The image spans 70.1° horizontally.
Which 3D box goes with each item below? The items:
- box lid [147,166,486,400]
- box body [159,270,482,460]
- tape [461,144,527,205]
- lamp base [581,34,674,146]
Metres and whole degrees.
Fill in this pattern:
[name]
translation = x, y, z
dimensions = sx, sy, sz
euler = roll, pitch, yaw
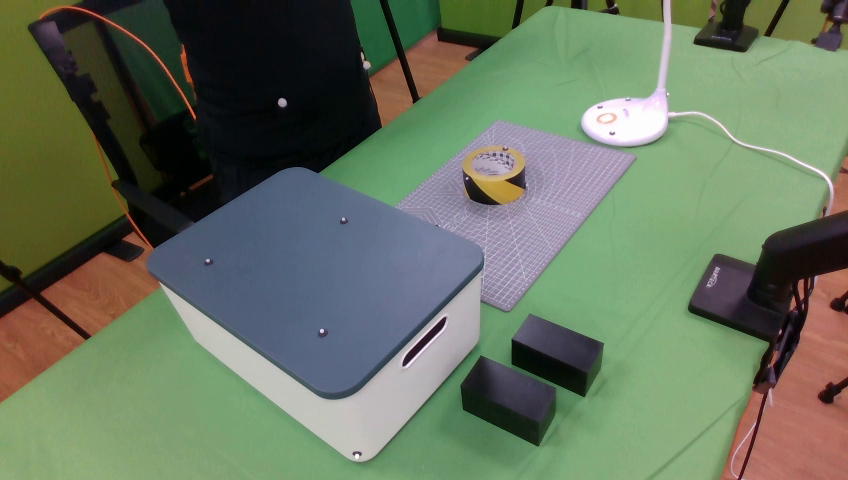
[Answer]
[box lid]
translation = -0.136, 0.024, 0.738
dimensions = 0.368, 0.015, 0.264
euler = 25, 50, 32
[box body]
translation = -0.130, 0.079, 0.787
dimensions = 0.361, 0.161, 0.255
euler = 25, 50, 32
[tape]
translation = 0.124, -0.116, 1.058
dimensions = 0.117, 0.053, 0.116
euler = -4, 42, 4
[lamp base]
translation = 0.392, -0.291, 1.129
dimensions = 0.180, 0.181, 0.159
euler = -11, 41, -8
